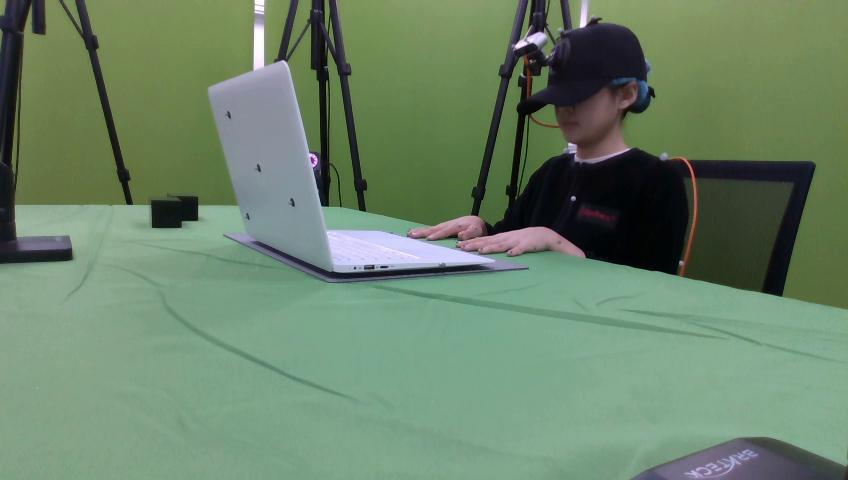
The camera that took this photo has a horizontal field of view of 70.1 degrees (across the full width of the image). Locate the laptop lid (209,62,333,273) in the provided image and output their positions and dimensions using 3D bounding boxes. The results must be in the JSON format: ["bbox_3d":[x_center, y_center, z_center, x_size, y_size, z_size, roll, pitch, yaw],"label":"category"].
[{"bbox_3d":[-0.213,-0.095,0.790,0.013,0.241,0.355,-18,18,-29],"label":"laptop lid"}]

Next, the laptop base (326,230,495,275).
[{"bbox_3d":[-0.093,0.015,0.884,0.237,0.023,0.352,3,6,-32],"label":"laptop base"}]
